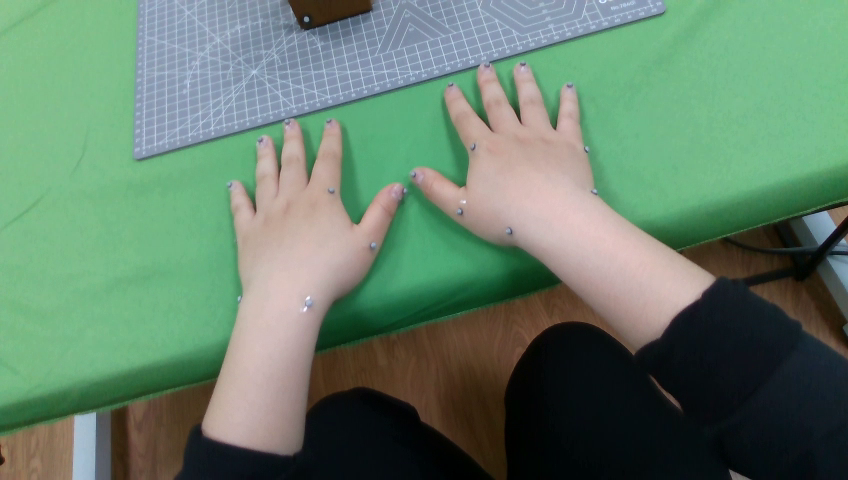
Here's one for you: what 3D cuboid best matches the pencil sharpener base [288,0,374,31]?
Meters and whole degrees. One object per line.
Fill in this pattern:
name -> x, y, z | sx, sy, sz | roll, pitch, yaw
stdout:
pencil sharpener base -> -0.094, -0.239, 0.503 | 0.077, 0.108, 0.061 | -17, 62, 2
